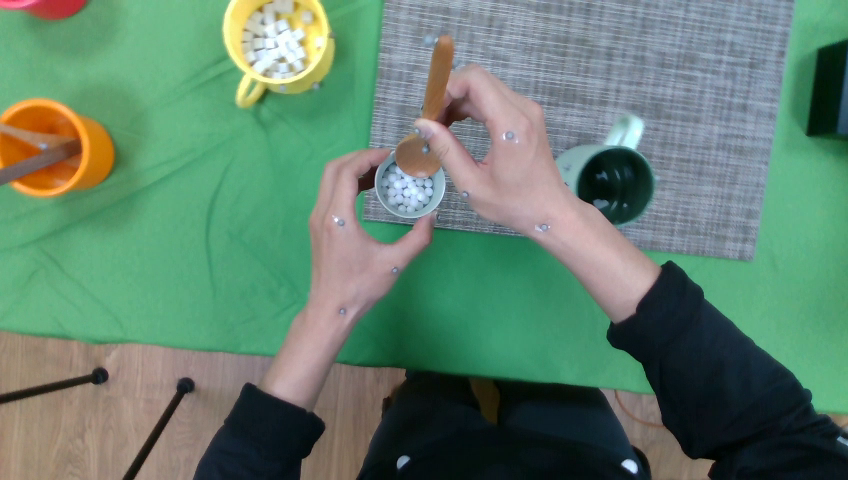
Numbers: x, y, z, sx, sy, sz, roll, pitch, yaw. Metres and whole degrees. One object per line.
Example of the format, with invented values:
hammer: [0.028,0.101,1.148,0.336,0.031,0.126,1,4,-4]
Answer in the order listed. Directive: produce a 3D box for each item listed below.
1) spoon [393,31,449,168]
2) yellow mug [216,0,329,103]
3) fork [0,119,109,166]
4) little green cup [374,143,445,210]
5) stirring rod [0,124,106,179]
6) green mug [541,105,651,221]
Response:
spoon: [0.001,-0.091,0.435,0.042,0.194,0.021,13,78,-3]
yellow mug: [-0.158,-0.197,0.614,0.100,0.064,0.131,31,95,-6]
fork: [-0.405,-0.111,0.567,0.209,0.018,0.028,20,92,-48]
little green cup: [-0.015,-0.055,0.530,0.062,0.038,0.061,0,89,-9]
stirring rod: [-0.387,-0.073,0.578,0.176,0.006,0.014,-40,101,-41]
green mug: [0.182,-0.079,0.624,0.093,0.104,0.125,22,94,-5]
